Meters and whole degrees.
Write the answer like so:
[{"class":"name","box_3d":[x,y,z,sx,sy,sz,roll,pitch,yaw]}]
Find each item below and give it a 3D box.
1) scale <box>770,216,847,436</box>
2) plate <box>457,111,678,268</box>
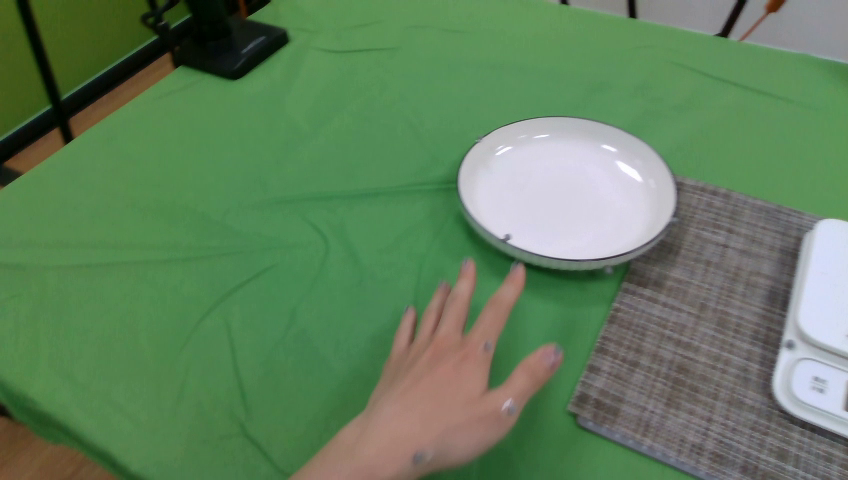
[{"class":"scale","box_3d":[0.364,0.071,0.469,0.148,0.032,0.200,22,53,22]},{"class":"plate","box_3d":[0.137,-0.050,0.595,0.209,0.038,0.207,-2,48,3]}]
